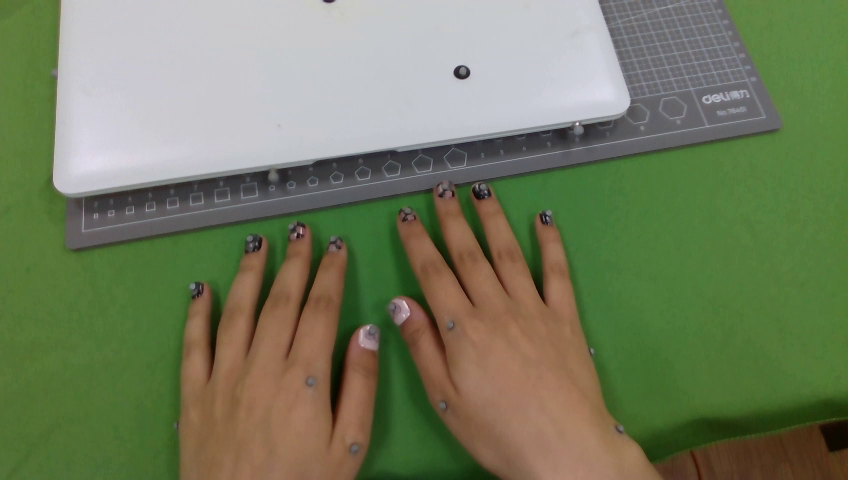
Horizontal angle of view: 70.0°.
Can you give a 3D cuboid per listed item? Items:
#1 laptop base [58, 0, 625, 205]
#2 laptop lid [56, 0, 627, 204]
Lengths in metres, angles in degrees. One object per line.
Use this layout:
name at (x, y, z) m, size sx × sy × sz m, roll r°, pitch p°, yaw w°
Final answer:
laptop base at (-0.063, -0.151, 0.418) m, size 0.355 × 0.023 × 0.234 m, roll -9°, pitch 70°, yaw -5°
laptop lid at (-0.062, -0.153, 0.406) m, size 0.357 × 0.013 × 0.240 m, roll -8°, pitch 69°, yaw -4°
